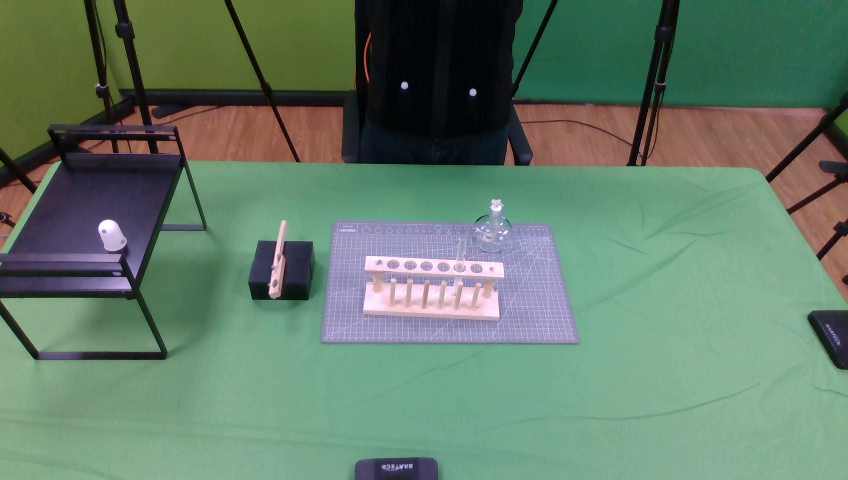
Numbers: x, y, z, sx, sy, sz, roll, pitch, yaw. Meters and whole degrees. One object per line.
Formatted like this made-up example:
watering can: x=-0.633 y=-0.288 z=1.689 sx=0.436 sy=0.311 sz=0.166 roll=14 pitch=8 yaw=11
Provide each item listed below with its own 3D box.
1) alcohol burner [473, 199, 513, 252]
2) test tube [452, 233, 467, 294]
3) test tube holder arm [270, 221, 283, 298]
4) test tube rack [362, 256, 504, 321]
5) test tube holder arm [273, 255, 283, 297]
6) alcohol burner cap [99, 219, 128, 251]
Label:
alcohol burner: x=0.135 y=-0.034 z=1.174 sx=0.078 sy=0.120 sz=0.077 roll=1 pitch=47 yaw=-1
test tube: x=0.061 y=0.045 z=1.044 sx=0.017 sy=0.151 sz=0.017 roll=1 pitch=47 yaw=-1
test tube holder arm: x=-0.264 y=0.031 z=1.086 sx=0.013 sy=0.015 sz=0.177 roll=-6 pitch=46 yaw=-4
test tube rack: x=0.014 y=0.085 z=1.069 sx=0.242 sy=0.085 sz=0.066 roll=3 pitch=45 yaw=-2
test tube holder arm: x=-0.254 y=0.062 z=1.055 sx=0.010 sy=0.015 sz=0.087 roll=-5 pitch=46 yaw=-3
alcohol burner cap: x=-0.467 y=-0.010 z=0.907 sx=0.034 sy=0.048 sz=0.033 roll=2 pitch=47 yaw=-1
